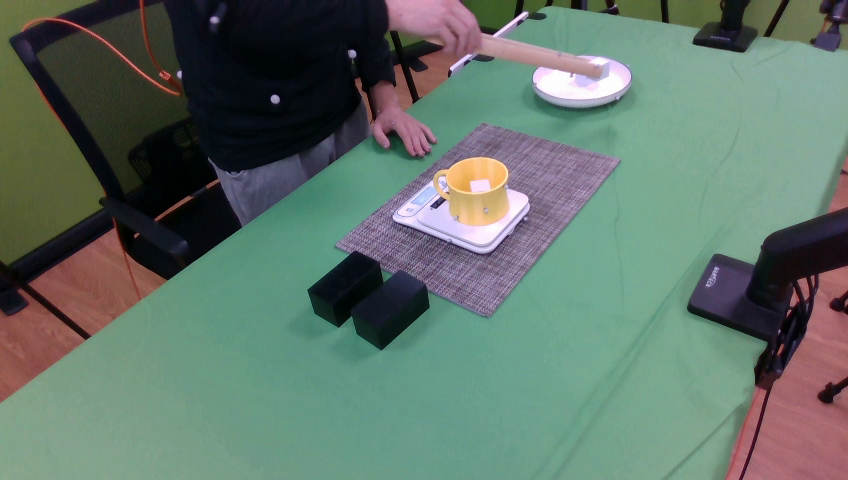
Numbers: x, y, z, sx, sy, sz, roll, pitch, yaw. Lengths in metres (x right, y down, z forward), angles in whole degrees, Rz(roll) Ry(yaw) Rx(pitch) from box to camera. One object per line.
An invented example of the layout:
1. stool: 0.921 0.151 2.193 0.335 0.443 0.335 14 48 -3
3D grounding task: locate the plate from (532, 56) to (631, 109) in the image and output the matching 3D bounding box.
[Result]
1. plate: 0.336 -0.335 1.301 0.207 0.039 0.206 -4 41 4

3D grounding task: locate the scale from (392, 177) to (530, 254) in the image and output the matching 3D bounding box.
1. scale: 0.060 -0.050 1.006 0.199 0.032 0.149 22 48 30

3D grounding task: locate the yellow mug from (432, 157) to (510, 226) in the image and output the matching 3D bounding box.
1. yellow mug: 0.072 -0.082 0.968 0.130 0.064 0.100 13 45 24

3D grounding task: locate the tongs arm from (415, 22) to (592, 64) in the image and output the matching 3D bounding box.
1. tongs arm: 0.153 -0.336 1.072 0.391 0.028 0.028 2 34 -30

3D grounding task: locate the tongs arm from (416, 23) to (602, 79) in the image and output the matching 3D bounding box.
1. tongs arm: 0.162 -0.325 1.055 0.388 0.026 0.050 -1 31 -34
